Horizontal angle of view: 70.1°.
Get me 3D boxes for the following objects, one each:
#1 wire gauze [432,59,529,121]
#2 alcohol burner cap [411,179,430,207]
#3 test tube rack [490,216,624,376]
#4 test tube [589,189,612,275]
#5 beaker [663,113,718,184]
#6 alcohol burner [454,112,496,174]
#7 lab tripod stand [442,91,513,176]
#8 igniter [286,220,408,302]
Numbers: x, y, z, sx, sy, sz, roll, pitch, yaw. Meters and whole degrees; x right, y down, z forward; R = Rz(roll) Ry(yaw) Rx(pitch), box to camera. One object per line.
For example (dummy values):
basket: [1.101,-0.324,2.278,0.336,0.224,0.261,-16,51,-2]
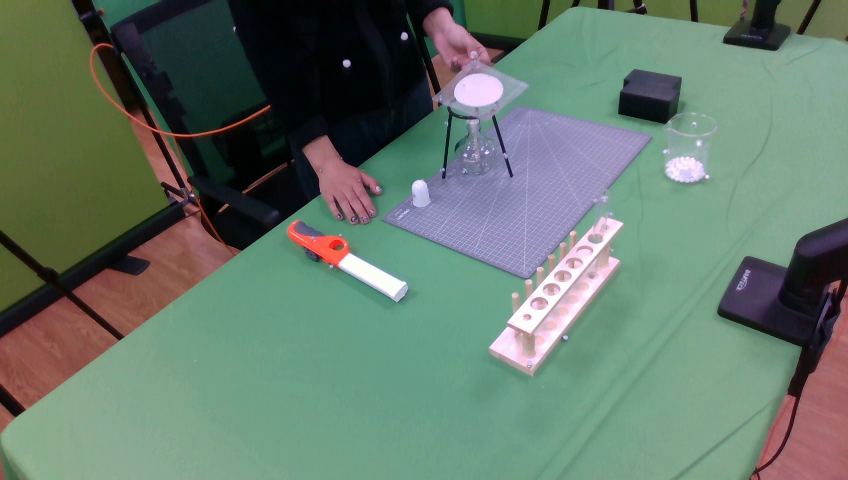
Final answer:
wire gauze: [0.098,-0.262,1.057,0.120,0.011,0.125,33,63,25]
alcohol burner cap: [-0.008,-0.085,1.063,0.034,0.048,0.033,-4,40,4]
test tube rack: [0.184,0.064,0.822,0.066,0.085,0.243,24,50,33]
test tube: [0.238,-0.007,0.818,0.017,0.151,0.017,-3,43,4]
beaker: [0.442,-0.151,1.018,0.084,0.101,0.074,-1,40,11]
alcohol burner: [0.092,-0.181,1.102,0.078,0.119,0.077,-5,42,5]
lab tripod stand: [0.096,-0.190,1.096,0.148,0.132,0.147,-4,40,4]
igniter: [-0.134,0.028,0.969,0.274,0.025,0.057,26,61,35]
